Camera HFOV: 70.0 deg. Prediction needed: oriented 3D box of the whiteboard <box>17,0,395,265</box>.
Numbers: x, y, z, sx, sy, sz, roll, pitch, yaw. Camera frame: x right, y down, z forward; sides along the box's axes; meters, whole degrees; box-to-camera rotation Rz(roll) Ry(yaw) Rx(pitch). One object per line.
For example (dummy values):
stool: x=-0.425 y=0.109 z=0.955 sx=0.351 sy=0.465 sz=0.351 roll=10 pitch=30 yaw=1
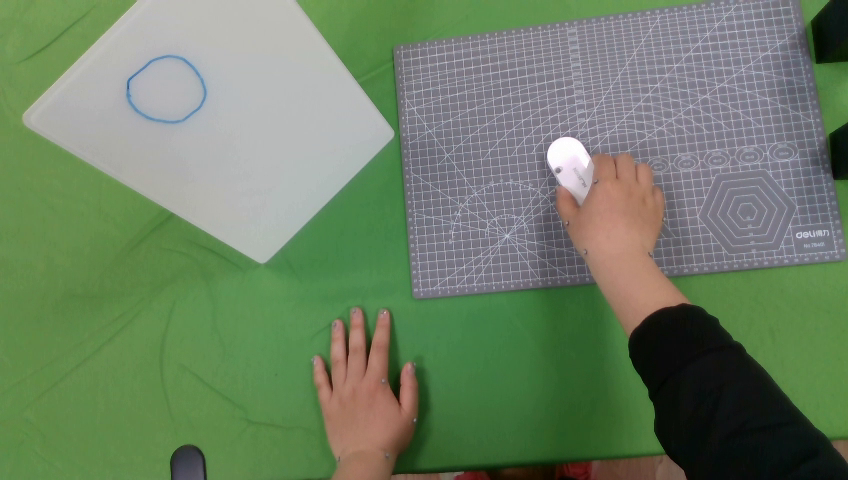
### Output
whiteboard: x=-0.205 y=-0.146 z=0.602 sx=0.217 sy=0.308 sz=0.142 roll=-45 pitch=59 yaw=0

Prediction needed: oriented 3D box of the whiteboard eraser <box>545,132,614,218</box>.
whiteboard eraser: x=0.167 y=-0.070 z=0.653 sx=0.041 sy=0.019 sz=0.101 roll=-30 pitch=80 yaw=3
